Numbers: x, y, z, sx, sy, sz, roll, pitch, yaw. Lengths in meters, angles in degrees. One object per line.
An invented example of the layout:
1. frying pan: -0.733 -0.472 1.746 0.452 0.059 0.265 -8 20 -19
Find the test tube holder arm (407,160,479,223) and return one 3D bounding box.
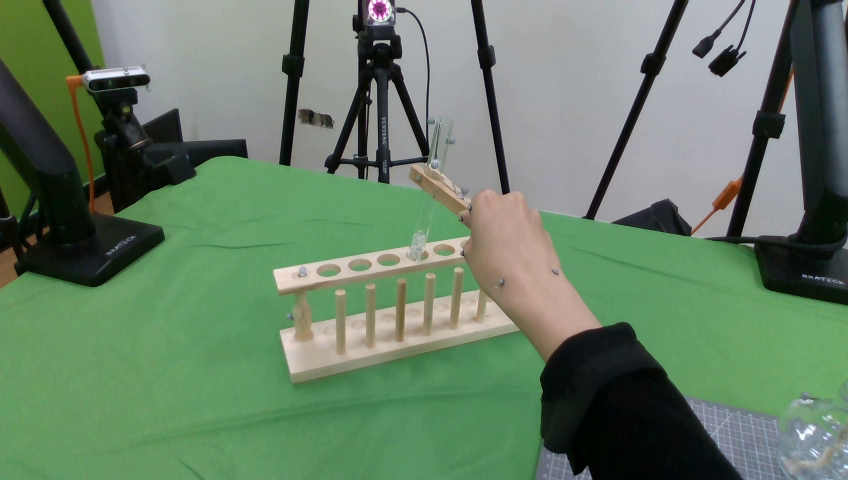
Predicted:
1. test tube holder arm: 0.017 -0.043 0.525 0.010 0.015 0.087 -26 51 -37

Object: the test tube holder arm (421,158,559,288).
1. test tube holder arm: 0.049 -0.020 0.503 0.013 0.015 0.176 -19 47 -32

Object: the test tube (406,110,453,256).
1. test tube: 0.003 -0.046 0.549 0.017 0.151 0.017 9 34 -6

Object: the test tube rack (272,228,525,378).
1. test tube rack: -0.018 0.056 0.596 0.243 0.086 0.066 -10 34 -19

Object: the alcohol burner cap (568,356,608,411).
1. alcohol burner cap: 0.146 0.123 0.532 0.034 0.048 0.033 2 33 -1

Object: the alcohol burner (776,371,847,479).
1. alcohol burner: 0.314 0.134 0.457 0.078 0.120 0.077 2 34 -1
